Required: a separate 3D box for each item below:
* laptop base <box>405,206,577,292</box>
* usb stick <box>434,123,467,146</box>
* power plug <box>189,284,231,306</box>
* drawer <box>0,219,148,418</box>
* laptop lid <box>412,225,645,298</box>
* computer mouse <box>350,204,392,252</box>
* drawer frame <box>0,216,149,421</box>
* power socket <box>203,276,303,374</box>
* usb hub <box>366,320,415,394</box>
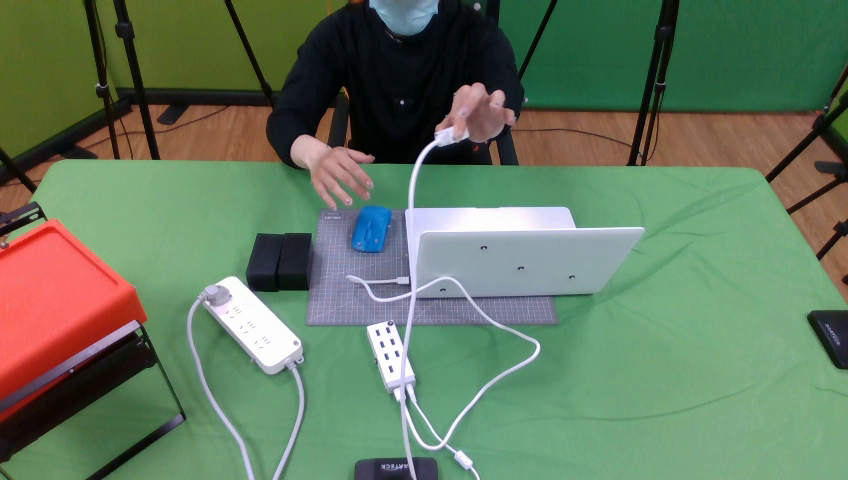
[{"bbox_3d":[0.143,0.018,1.196,0.355,0.023,0.234,-1,43,-6],"label":"laptop base"},{"bbox_3d":[0.041,-0.148,0.843,0.027,0.021,0.059,-12,11,36],"label":"usb stick"},{"bbox_3d":[-0.368,0.100,1.037,0.072,0.053,0.035,-24,54,-26],"label":"power plug"},{"bbox_3d":[-0.509,0.093,0.783,0.193,0.073,0.211,32,53,24],"label":"drawer"},{"bbox_3d":[0.161,0.042,1.012,0.357,0.242,0.013,0,59,-7],"label":"laptop lid"},{"bbox_3d":[-0.104,-0.027,1.202,0.063,0.041,0.116,11,51,3],"label":"computer mouse"},{"bbox_3d":[-0.510,0.093,0.780,0.201,0.083,0.213,31,52,23],"label":"drawer frame"},{"bbox_3d":[-0.296,0.141,1.034,0.072,0.033,0.225,-35,58,-30],"label":"power socket"},{"bbox_3d":[-0.056,0.192,1.009,0.049,0.025,0.124,-12,49,-16],"label":"usb hub"}]
